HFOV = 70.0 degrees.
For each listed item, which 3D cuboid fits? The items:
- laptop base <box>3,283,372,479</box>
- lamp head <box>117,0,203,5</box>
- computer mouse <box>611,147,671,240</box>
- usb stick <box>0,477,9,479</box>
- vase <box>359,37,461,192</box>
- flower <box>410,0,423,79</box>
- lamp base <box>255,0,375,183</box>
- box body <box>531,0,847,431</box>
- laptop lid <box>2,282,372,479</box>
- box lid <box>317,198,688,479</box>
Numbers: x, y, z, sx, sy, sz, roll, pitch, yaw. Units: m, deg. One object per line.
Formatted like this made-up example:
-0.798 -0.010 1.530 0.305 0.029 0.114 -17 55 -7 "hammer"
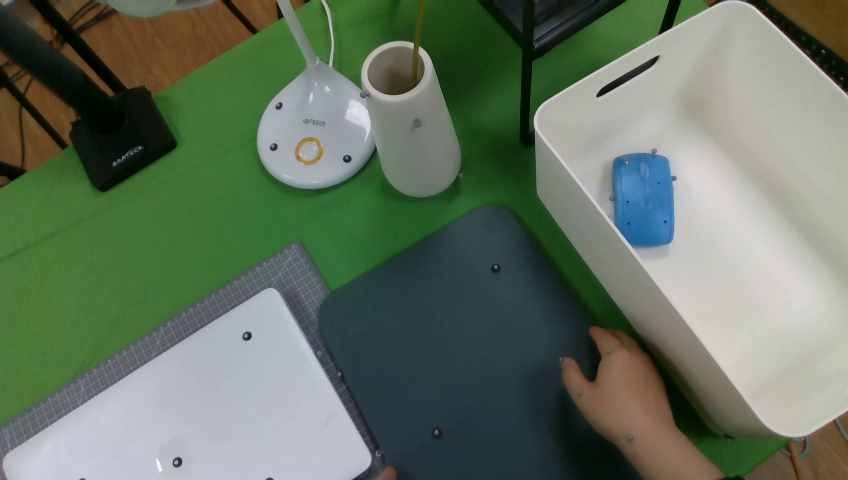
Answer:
-0.259 0.231 0.658 0.354 0.023 0.234 -33 73 -6 "laptop base"
-0.194 -0.236 0.416 0.112 0.112 0.122 -5 87 6 "lamp head"
0.244 -0.055 0.684 0.062 0.041 0.116 2 66 12 "computer mouse"
-0.462 0.273 0.654 0.059 0.027 0.021 -29 67 -11 "usb stick"
-0.016 -0.131 0.665 0.098 0.201 0.097 -3 68 8 "vase"
-0.009 -0.171 0.591 0.038 0.364 0.043 -19 58 -18 "flower"
-0.149 -0.185 0.713 0.160 0.181 0.178 -1 67 7 "lamp base"
0.302 -0.022 0.604 0.254 0.161 0.361 -31 69 -4 "box body"
-0.259 0.229 0.646 0.357 0.013 0.240 -32 71 -5 "laptop lid"
0.067 0.146 0.647 0.263 0.015 0.368 -31 68 -5 "box lid"
